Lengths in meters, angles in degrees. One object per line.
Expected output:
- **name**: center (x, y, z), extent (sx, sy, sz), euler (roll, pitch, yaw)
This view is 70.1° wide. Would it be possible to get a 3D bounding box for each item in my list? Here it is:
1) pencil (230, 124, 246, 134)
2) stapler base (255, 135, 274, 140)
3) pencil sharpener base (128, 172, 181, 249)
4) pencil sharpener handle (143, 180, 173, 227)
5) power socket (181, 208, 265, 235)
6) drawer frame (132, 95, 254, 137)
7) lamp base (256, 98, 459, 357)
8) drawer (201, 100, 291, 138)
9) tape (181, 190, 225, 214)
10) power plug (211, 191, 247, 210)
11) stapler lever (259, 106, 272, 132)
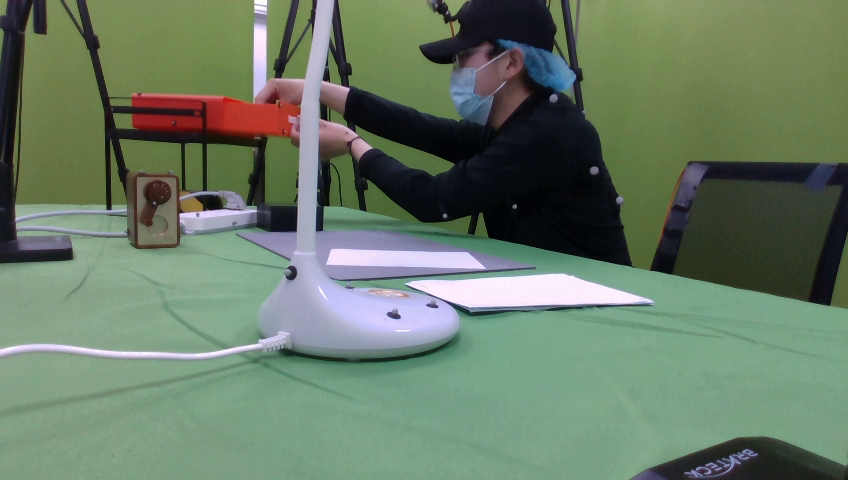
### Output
- **pencil**: center (-0.415, -0.250, 1.353), extent (0.012, 0.012, 0.193), euler (-2, 6, -26)
- **stapler base**: center (-0.359, -0.250, 1.367), extent (0.041, 0.024, 0.130), euler (2, -3, -17)
- **pencil sharpener base**: center (-0.395, -0.044, 0.887), extent (0.062, 0.107, 0.076), euler (-2, 9, -34)
- **pencil sharpener handle**: center (-0.371, -0.050, 0.840), extent (0.036, 0.067, 0.030), euler (24, -5, -34)
- **power socket**: center (-0.381, -0.038, 1.129), extent (0.072, 0.032, 0.227), euler (4, 8, 17)
- **drawer frame**: center (-0.506, -0.280, 1.378), extent (0.213, 0.082, 0.202), euler (3, 8, 7)
- **lamp base**: center (-0.055, -0.013, 0.463), extent (0.160, 0.180, 0.180), euler (6, 11, 27)
- **drawer**: center (-0.387, -0.270, 1.363), extent (0.211, 0.073, 0.194), euler (2, 8, 8)
- **tape**: center (-0.515, -0.087, 1.388), extent (0.117, 0.052, 0.117), euler (4, 7, 0)
- **power plug**: center (-0.386, -0.072, 1.205), extent (0.072, 0.052, 0.035), euler (7, 9, 27)
- **stapler lever**: center (-0.359, -0.272, 1.369), extent (0.027, 0.040, 0.117), euler (2, -1, -17)
